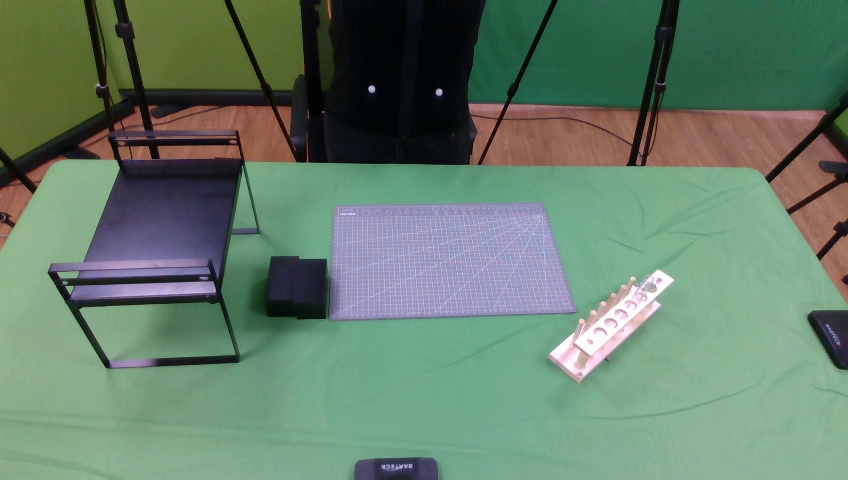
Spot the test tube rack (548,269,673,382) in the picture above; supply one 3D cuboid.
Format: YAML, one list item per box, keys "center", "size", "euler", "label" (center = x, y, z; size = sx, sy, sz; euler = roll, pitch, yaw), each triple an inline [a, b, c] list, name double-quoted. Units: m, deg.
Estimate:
- center: [0.325, 0.134, 1.047]
  size: [0.242, 0.085, 0.066]
  euler: [-32, 55, -30]
  label: "test tube rack"

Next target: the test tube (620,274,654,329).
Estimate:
- center: [0.349, 0.105, 1.009]
  size: [0.017, 0.151, 0.017]
  euler: [2, 51, -2]
  label: "test tube"
